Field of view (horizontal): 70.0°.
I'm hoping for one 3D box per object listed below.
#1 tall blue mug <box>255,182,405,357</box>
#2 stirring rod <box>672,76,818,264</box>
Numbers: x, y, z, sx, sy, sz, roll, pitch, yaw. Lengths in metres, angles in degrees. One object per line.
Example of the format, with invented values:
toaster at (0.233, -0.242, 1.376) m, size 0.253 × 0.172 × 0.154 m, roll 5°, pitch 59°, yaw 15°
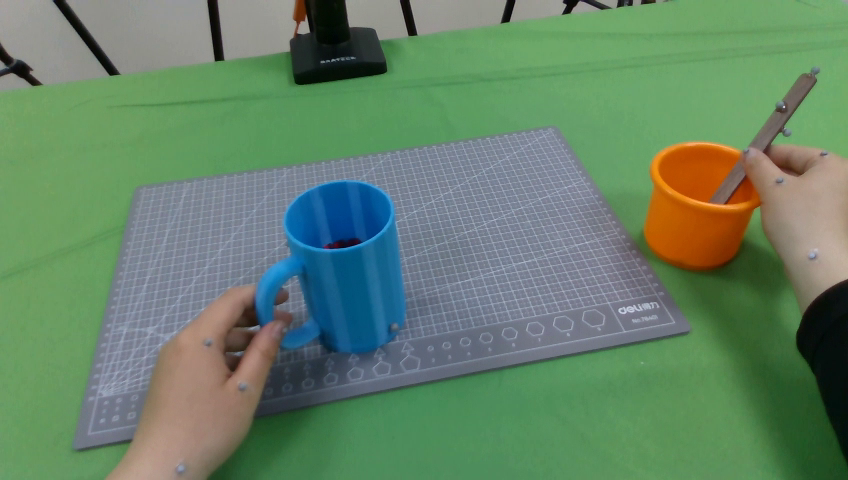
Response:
tall blue mug at (-0.061, 0.033, 0.435) m, size 0.077 × 0.109 × 0.106 m, roll 13°, pitch 45°, yaw 16°
stirring rod at (0.259, -0.055, 0.491) m, size 0.176 × 0.006 × 0.014 m, roll -57°, pitch 45°, yaw 9°
